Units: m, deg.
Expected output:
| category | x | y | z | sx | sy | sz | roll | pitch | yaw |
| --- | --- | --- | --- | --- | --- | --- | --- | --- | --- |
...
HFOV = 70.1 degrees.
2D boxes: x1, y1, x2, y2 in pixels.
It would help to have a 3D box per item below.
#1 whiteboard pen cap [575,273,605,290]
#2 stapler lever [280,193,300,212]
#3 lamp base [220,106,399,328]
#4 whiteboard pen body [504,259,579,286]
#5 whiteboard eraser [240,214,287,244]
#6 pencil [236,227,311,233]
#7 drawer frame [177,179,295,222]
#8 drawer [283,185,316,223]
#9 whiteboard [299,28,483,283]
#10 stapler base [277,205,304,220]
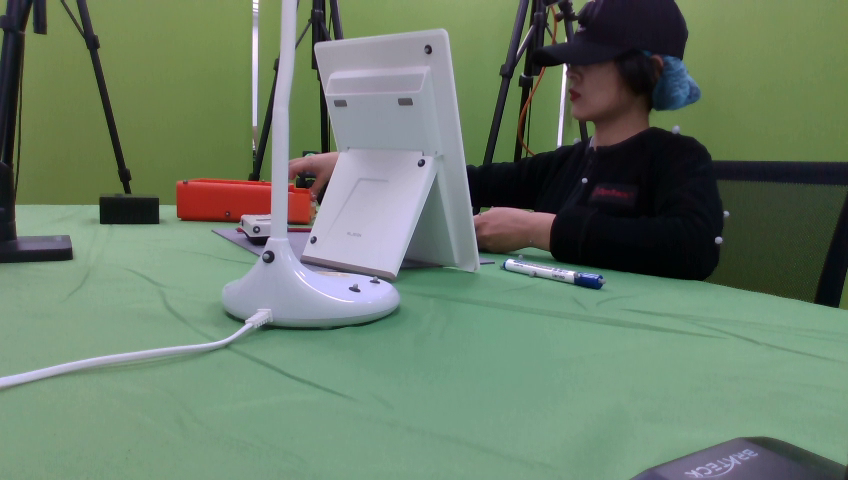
| category | x | y | z | sx | sy | sz | roll | pitch | yaw |
| --- | --- | --- | --- | --- | --- | --- | --- | --- | --- |
| whiteboard pen cap | 0.197 | 0.048 | 0.719 | 0.018 | 0.018 | 0.033 | -4 | 11 | -41 |
| stapler lever | -0.291 | -0.085 | 1.315 | 0.027 | 0.040 | 0.118 | 4 | 10 | -4 |
| lamp base | -0.101 | -0.023 | 0.531 | 0.160 | 0.180 | 0.179 | 4 | 10 | 10 |
| whiteboard pen body | 0.157 | 0.042 | 0.764 | 0.017 | 0.017 | 0.140 | -4 | 11 | -41 |
| whiteboard eraser | -0.256 | -0.018 | 0.958 | 0.056 | 0.042 | 0.112 | 0 | 8 | -25 |
| pencil | -0.239 | -0.017 | 1.093 | 0.195 | 0.012 | 0.012 | 1 | 7 | -27 |
| drawer frame | -0.397 | -0.088 | 1.315 | 0.214 | 0.082 | 0.201 | 1 | 8 | -7 |
| drawer | -0.346 | -0.084 | 1.322 | 0.212 | 0.073 | 0.194 | 1 | 8 | -6 |
| whiteboard | -0.075 | -0.082 | 0.741 | 0.216 | 0.305 | 0.144 | 9 | 30 | 38 |
| stapler base | -0.291 | -0.062 | 1.317 | 0.041 | 0.024 | 0.130 | 4 | 7 | -4 |
